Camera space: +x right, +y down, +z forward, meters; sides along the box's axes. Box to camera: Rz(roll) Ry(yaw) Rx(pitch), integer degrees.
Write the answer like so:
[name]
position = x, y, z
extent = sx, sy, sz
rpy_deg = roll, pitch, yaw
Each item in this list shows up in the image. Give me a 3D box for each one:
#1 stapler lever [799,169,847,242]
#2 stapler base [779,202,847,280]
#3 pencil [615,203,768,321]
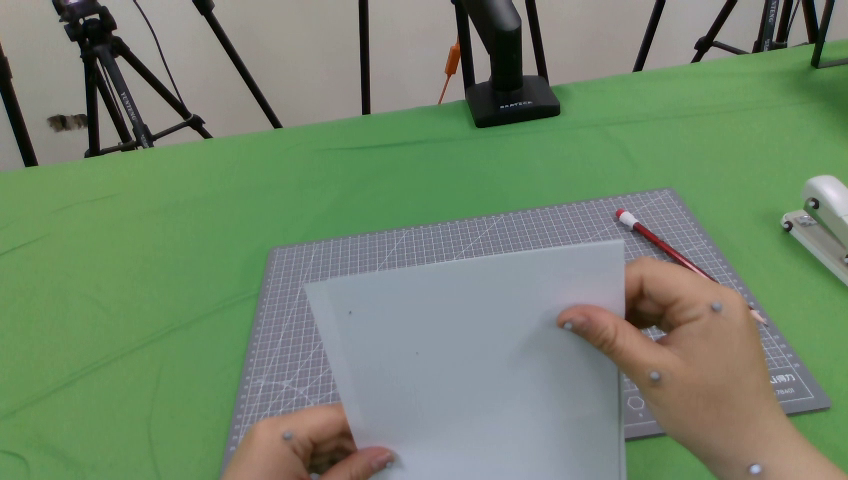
[stapler lever]
position = 0.376, -0.020, 0.532
extent = 0.027, 0.040, 0.117
rpy_deg = -14, 40, -2
[stapler base]
position = 0.379, -0.001, 0.550
extent = 0.041, 0.025, 0.129
rpy_deg = -13, 40, -2
[pencil]
position = 0.241, 0.015, 0.563
extent = 0.012, 0.012, 0.192
rpy_deg = -21, 40, -14
